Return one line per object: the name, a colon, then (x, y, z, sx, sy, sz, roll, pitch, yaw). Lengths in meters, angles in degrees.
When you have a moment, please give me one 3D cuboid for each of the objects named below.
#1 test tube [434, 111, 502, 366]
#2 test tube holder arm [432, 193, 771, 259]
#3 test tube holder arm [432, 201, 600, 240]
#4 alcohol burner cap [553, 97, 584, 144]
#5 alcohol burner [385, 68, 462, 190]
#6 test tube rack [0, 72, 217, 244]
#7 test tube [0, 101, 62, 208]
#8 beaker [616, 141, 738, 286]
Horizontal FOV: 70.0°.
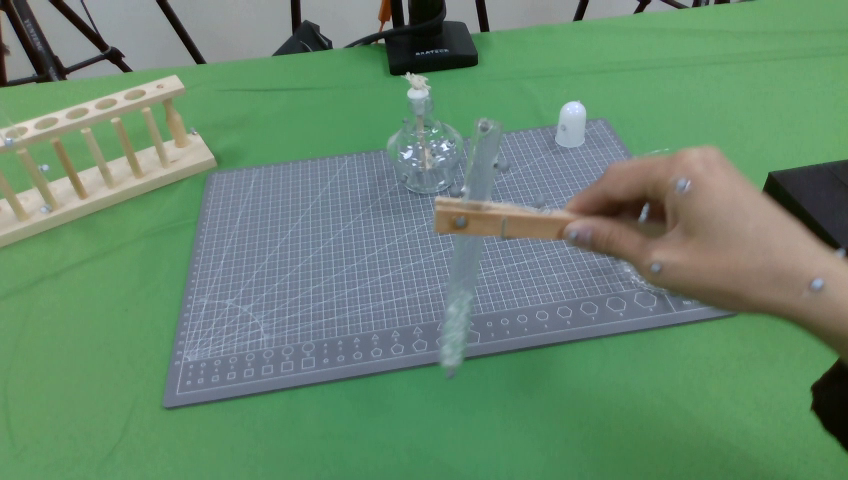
test tube: (0.022, 0.005, 0.330, 0.017, 0.151, 0.017, 7, 24, -3)
test tube holder arm: (0.093, -0.008, 0.324, 0.178, 0.015, 0.013, 7, 26, 1)
test tube holder arm: (0.048, -0.010, 0.318, 0.088, 0.015, 0.010, 3, 26, -6)
alcohol burner cap: (0.157, -0.132, 0.653, 0.034, 0.048, 0.033, -2, 43, 3)
alcohol burner: (-0.002, -0.110, 0.592, 0.078, 0.120, 0.077, -4, 42, 4)
test tube rack: (-0.352, -0.086, 0.623, 0.242, 0.086, 0.066, -26, 47, -21)
test tube: (-0.383, -0.092, 0.567, 0.017, 0.152, 0.017, -4, 42, 4)
beaker: (0.195, -0.019, 0.488, 0.074, 0.101, 0.083, -30, 48, -24)
